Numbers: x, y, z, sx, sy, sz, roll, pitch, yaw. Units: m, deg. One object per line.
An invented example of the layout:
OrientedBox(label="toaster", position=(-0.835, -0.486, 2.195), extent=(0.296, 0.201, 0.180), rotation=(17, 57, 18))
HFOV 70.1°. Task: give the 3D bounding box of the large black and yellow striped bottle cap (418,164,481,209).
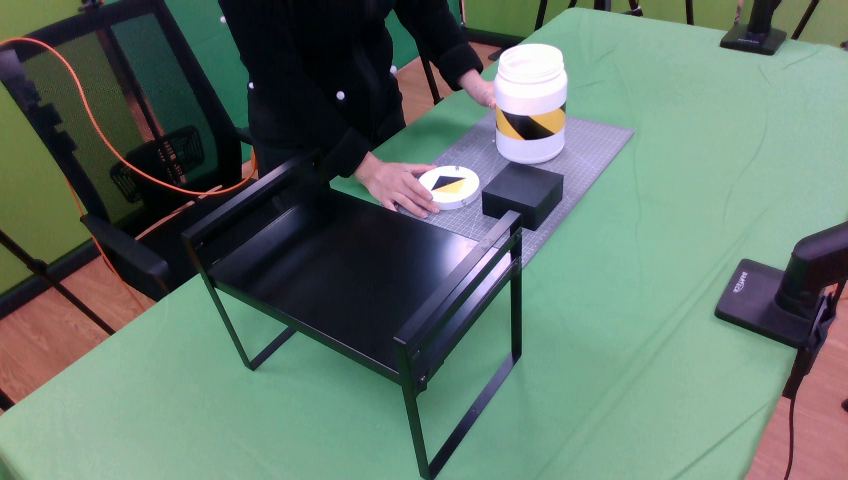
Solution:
OrientedBox(label="large black and yellow striped bottle cap", position=(0.045, -0.098, 1.085), extent=(0.115, 0.019, 0.114), rotation=(-4, 42, 4))

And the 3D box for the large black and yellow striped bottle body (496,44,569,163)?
OrientedBox(label="large black and yellow striped bottle body", position=(0.198, -0.250, 1.108), extent=(0.131, 0.185, 0.130), rotation=(-4, 40, 4))
